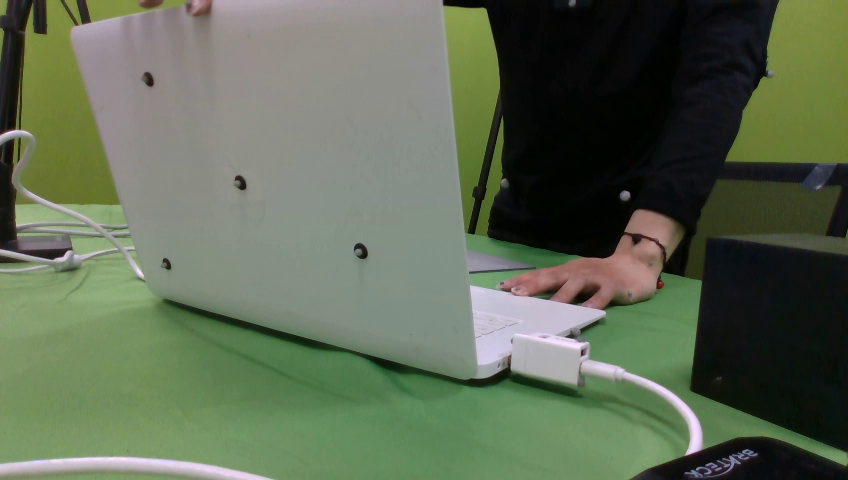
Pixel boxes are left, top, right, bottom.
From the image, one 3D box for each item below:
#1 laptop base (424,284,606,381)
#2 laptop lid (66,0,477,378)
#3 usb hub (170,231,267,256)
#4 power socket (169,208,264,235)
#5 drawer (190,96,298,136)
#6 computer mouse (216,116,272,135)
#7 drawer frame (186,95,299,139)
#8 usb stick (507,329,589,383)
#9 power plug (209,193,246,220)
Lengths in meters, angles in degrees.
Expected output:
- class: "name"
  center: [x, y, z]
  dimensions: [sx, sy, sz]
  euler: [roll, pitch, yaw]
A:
- class: "laptop base"
  center: [-0.042, 0.059, 0.553]
  dimensions: [0.352, 0.023, 0.237]
  euler: [8, 7, 35]
- class: "laptop lid"
  center: [-0.127, -0.041, 0.416]
  dimensions: [0.355, 0.242, 0.013]
  euler: [8, 26, 34]
- class: "usb hub"
  center: [-0.290, 0.005, 0.862]
  dimensions: [0.049, 0.025, 0.126]
  euler: [10, 11, 42]
- class: "power socket"
  center: [-0.381, -0.038, 1.128]
  dimensions: [0.072, 0.032, 0.227]
  euler: [4, 8, 16]
- class: "drawer"
  center: [-0.413, -0.276, 1.376]
  dimensions: [0.195, 0.073, 0.210]
  euler: [-3, 9, -31]
- class: "computer mouse"
  center: [-0.402, -0.258, 1.353]
  dimensions: [0.118, 0.041, 0.062]
  euler: [-6, 15, -34]
- class: "drawer frame"
  center: [-0.417, -0.277, 1.378]
  dimensions: [0.203, 0.082, 0.212]
  euler: [-3, 8, -32]
- class: "usb stick"
  center: [0.072, 0.072, 0.382]
  dimensions: [0.059, 0.027, 0.021]
  euler: [1, 3, 34]
- class: "power plug"
  center: [-0.388, -0.067, 1.205]
  dimensions: [0.072, 0.052, 0.035]
  euler: [3, 8, 26]
